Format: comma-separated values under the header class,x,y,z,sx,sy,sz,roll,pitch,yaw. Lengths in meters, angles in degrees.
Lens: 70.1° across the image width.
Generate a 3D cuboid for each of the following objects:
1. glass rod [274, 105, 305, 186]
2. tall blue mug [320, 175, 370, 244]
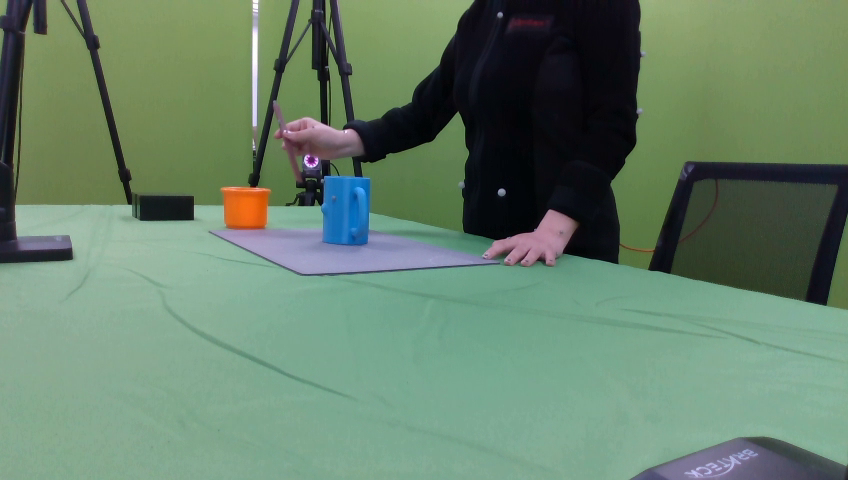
class,x,y,z,sx,sy,sz,roll,pitch,yaw
glass rod,-0.248,-0.177,1.109,0.008,0.199,0.008,-19,-27,-10
tall blue mug,-0.116,-0.049,0.991,0.106,0.108,0.078,7,8,33
